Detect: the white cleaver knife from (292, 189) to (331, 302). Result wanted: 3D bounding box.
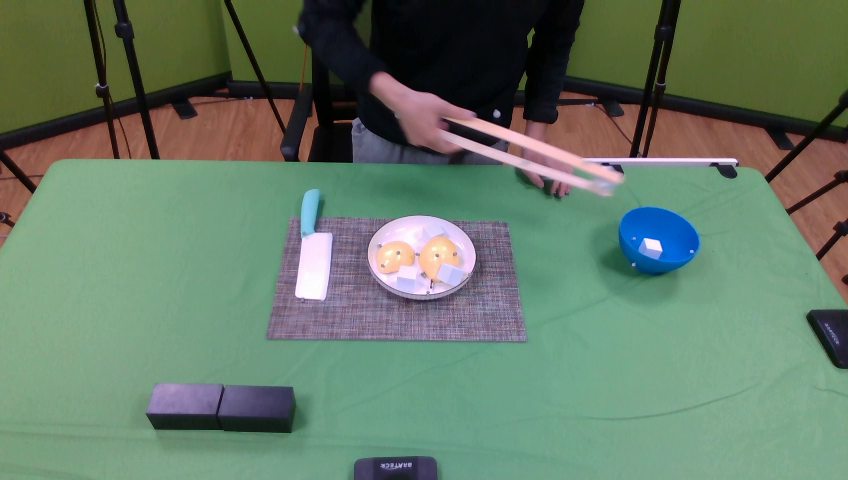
[{"bbox_3d":[-0.215,0.006,1.178,0.066,0.021,0.284,5,49,-12],"label":"white cleaver knife"}]

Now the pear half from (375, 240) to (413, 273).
[{"bbox_3d":[-0.059,0.026,1.145,0.070,0.031,0.088,22,43,21],"label":"pear half"}]

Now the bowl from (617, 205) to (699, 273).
[{"bbox_3d":[0.444,0.011,1.182,0.151,0.077,0.150,2,46,-2],"label":"bowl"}]

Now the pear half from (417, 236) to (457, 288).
[{"bbox_3d":[0.022,0.039,1.127,0.076,0.056,0.109,5,50,7],"label":"pear half"}]

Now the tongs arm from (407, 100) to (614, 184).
[{"bbox_3d":[0.155,-0.178,1.086,0.387,0.028,0.027,21,61,3],"label":"tongs arm"}]

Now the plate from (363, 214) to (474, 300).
[{"bbox_3d":[-0.010,0.036,1.146,0.208,0.039,0.206,3,46,-2],"label":"plate"}]

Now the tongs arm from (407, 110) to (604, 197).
[{"bbox_3d":[0.151,-0.163,1.109,0.384,0.051,0.026,20,57,6],"label":"tongs arm"}]
